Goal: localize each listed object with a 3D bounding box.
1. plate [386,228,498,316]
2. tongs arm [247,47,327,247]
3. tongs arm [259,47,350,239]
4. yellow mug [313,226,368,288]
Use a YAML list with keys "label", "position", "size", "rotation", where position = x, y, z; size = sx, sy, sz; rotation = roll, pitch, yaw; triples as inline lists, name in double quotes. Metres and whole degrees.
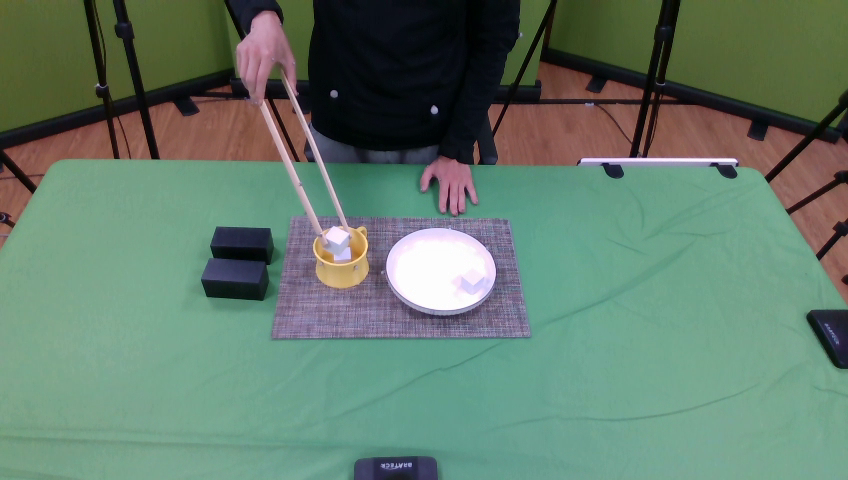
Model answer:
- label: "plate"
  position: [0.032, 0.062, 1.126]
  size: [0.208, 0.039, 0.206]
  rotation: [2, 46, -2]
- label: "tongs arm"
  position: [-0.240, -0.170, 1.086]
  size: [0.051, 0.026, 0.384]
  rotation: [-24, 84, -26]
- label: "tongs arm"
  position: [-0.215, -0.179, 1.100]
  size: [0.028, 0.028, 0.386]
  rotation: [-21, 83, -22]
- label: "yellow mug"
  position: [-0.146, 0.021, 1.132]
  size: [0.099, 0.064, 0.130]
  rotation: [24, 49, 19]
